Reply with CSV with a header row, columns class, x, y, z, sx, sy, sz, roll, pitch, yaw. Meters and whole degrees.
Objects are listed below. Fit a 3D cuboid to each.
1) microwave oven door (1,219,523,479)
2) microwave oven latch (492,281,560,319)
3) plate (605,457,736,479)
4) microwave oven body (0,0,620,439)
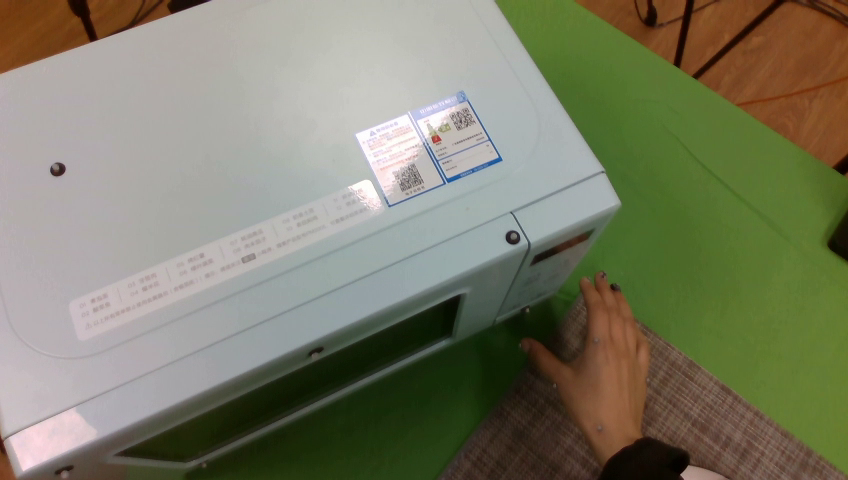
class,x,y,z,sx,sy,sz,roll,pitch,yaw
microwave oven door,-0.096,0.102,0.503,0.356,0.245,0.039,-24,71,-10
microwave oven latch,0.102,0.054,0.636,0.079,0.029,0.030,-23,72,-9
plate,0.234,0.310,0.557,0.209,0.038,0.207,1,69,-2
microwave oven body,-0.121,-0.036,0.561,0.442,0.261,0.323,-24,72,-9
